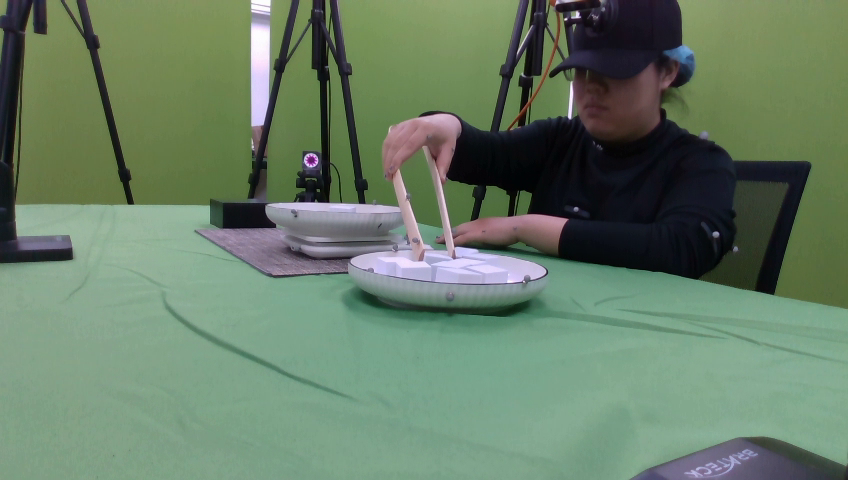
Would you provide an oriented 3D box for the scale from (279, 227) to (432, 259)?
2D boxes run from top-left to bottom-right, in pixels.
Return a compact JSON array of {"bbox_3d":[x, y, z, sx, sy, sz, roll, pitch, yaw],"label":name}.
[{"bbox_3d":[-0.100,0.001,0.899,0.202,0.031,0.148,-1,9,-31],"label":"scale"}]

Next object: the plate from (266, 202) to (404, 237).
[{"bbox_3d":[-0.123,-0.030,0.879,0.208,0.039,0.207,2,6,0],"label":"plate"}]

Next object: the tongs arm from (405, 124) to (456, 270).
[{"bbox_3d":[0.006,-0.075,0.812,0.028,0.028,0.386,2,30,-9],"label":"tongs arm"}]

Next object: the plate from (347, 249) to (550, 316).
[{"bbox_3d":[0.025,0.042,0.627,0.209,0.038,0.209,2,7,0],"label":"plate"}]

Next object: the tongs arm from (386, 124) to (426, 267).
[{"bbox_3d":[-0.017,-0.078,0.807,0.051,0.026,0.383,3,30,-14],"label":"tongs arm"}]
